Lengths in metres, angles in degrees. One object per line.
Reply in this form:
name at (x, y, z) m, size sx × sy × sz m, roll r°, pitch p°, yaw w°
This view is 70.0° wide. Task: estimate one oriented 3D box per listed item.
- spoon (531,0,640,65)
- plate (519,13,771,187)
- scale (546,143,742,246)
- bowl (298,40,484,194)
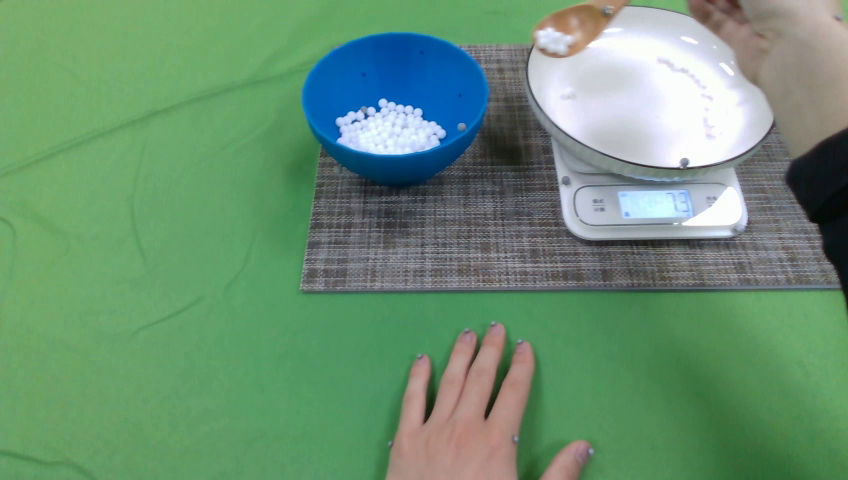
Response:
spoon at (0.169, -0.183, 0.439) m, size 0.193 × 0.022 × 0.041 m, roll -27°, pitch 66°, yaw 21°
plate at (0.184, -0.120, 0.523) m, size 0.209 × 0.038 × 0.207 m, roll 0°, pitch 54°, yaw 0°
scale at (0.184, -0.083, 0.536) m, size 0.149 × 0.032 × 0.199 m, roll -1°, pitch 54°, yaw 0°
bowl at (-0.025, -0.093, 0.517) m, size 0.151 × 0.077 × 0.150 m, roll 0°, pitch 54°, yaw 1°
